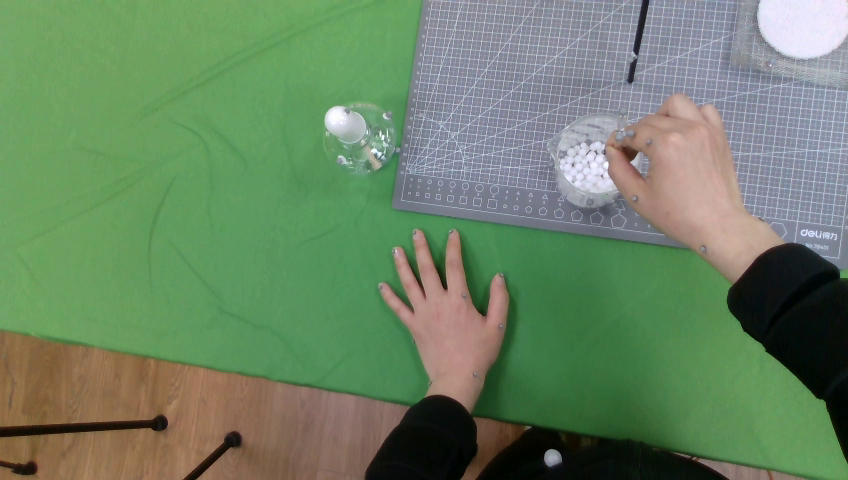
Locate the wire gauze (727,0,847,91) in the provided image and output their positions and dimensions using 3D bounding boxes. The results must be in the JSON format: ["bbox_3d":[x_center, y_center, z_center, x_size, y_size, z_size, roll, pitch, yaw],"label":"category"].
[{"bbox_3d":[0.368,-0.215,0.592,0.125,0.011,0.121,13,88,8],"label":"wire gauze"}]

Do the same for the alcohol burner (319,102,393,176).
[{"bbox_3d":[-0.073,-0.107,0.610,0.078,0.119,0.077,-1,83,9],"label":"alcohol burner"}]

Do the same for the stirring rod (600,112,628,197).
[{"bbox_3d":[0.157,-0.066,0.505,0.014,0.177,0.006,-10,73,11],"label":"stirring rod"}]

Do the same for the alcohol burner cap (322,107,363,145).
[{"bbox_3d":[-0.080,-0.110,0.575,0.034,0.048,0.034,0,89,10],"label":"alcohol burner cap"}]

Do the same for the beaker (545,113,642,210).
[{"bbox_3d":[0.155,-0.070,0.572,0.084,0.100,0.074,15,88,12],"label":"beaker"}]

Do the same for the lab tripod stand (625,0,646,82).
[{"bbox_3d":[0.196,-0.238,0.560,0.148,0.132,0.148,0,87,8],"label":"lab tripod stand"}]
